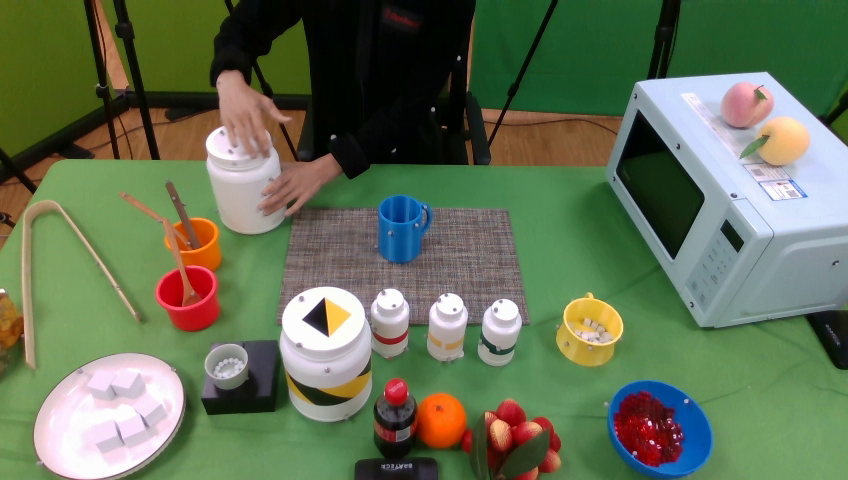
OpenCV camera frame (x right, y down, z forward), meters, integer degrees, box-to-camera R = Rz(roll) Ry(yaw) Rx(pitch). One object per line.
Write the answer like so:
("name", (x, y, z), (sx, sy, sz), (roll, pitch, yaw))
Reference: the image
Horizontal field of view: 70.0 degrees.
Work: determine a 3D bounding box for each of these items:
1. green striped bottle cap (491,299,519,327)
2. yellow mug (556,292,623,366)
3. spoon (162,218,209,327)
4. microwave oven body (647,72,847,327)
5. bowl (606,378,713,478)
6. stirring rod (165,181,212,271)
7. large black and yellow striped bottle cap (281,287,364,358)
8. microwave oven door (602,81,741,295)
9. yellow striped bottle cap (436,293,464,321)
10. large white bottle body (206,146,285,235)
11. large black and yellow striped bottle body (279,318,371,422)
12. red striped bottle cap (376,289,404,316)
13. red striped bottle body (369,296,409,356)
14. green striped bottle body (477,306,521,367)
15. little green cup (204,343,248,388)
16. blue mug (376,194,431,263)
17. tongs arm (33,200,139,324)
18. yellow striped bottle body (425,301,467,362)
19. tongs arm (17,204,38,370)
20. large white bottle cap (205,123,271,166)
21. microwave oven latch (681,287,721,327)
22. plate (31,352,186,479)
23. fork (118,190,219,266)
("green striped bottle cap", (0.128, 0.115, 0.958), (0.044, 0.020, 0.044), (1, 47, -1))
("yellow mug", (0.285, 0.145, 1.051), (0.100, 0.064, 0.130), (7, 45, 3))
("spoon", (-0.409, 0.054, 1.029), (0.041, 0.021, 0.194), (-17, 94, -15))
("microwave oven body", (0.607, -0.089, 1.164), (0.326, 0.261, 0.438), (-7, 46, -10))
("bowl", (0.340, 0.292, 0.906), (0.151, 0.077, 0.150), (2, 46, -2))
("stirring rod", (-0.430, -0.025, 1.107), (0.014, 0.006, 0.176), (-25, 94, -21))
("large black and yellow striped bottle cap", (-0.141, 0.112, 0.847), (0.115, 0.019, 0.114), (5, 45, -4))
("microwave oven door", (0.456, -0.107, 1.162), (0.039, 0.245, 0.353), (-6, 47, -11))
("yellow striped bottle cap", (0.041, 0.106, 0.959), (0.044, 0.019, 0.044), (-1, 49, 1))
("large white bottle body", (-0.344, -0.116, 1.169), (0.131, 0.185, 0.130), (2, 46, -2))
("large black and yellow striped bottle body", (-0.145, 0.173, 0.907), (0.131, 0.185, 0.130), (2, 46, -2))
("red striped bottle cap", (-0.054, 0.098, 0.958), (0.044, 0.018, 0.044), (0, 48, 1))
("red striped bottle body", (-0.058, 0.134, 0.997), (0.063, 0.120, 0.062), (4, 47, -4))
("green striped bottle body", (0.124, 0.151, 0.995), (0.063, 0.120, 0.063), (2, 46, -2))
("little green cup", (-0.294, 0.190, 0.909), (0.061, 0.039, 0.061), (1, 48, -1))
("blue mug", (-0.036, -0.027, 1.159), (0.116, 0.106, 0.082), (-24, 53, -26))
("tongs arm", (-0.622, 0.034, 1.105), (0.051, 0.026, 0.382), (-32, 56, -26))
("yellow striped bottle body", (0.037, 0.142, 0.996), (0.063, 0.121, 0.062), (3, 46, -3))
("tongs arm", (-0.698, 0.070, 1.068), (0.028, 0.028, 0.385), (-20, 50, -13))
("large white bottle cap", (-0.339, -0.176, 1.108), (0.115, 0.018, 0.114), (2, 45, -2))
("microwave oven latch", (0.494, 0.119, 1.087), (0.030, 0.029, 0.078), (-6, 46, -9))
("plate", (-0.459, 0.262, 0.898), (0.209, 0.038, 0.208), (2, 46, -2))
("fork", (-0.459, -0.020, 1.092), (0.208, 0.018, 0.028), (44, 44, -24))
